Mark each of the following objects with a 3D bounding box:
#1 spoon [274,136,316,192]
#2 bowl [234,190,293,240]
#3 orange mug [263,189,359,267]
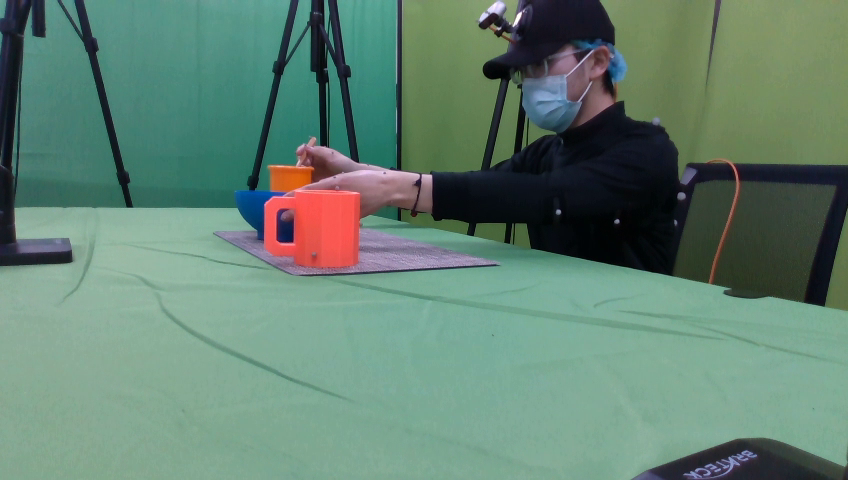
[{"bbox_3d":[-0.259,-0.152,1.245,0.041,0.193,0.021,12,-36,9],"label":"spoon"},{"bbox_3d":[-0.243,-0.042,1.023,0.151,0.077,0.151,3,6,0],"label":"bowl"},{"bbox_3d":[-0.147,-0.019,0.795,0.127,0.100,0.083,5,6,-19],"label":"orange mug"}]
